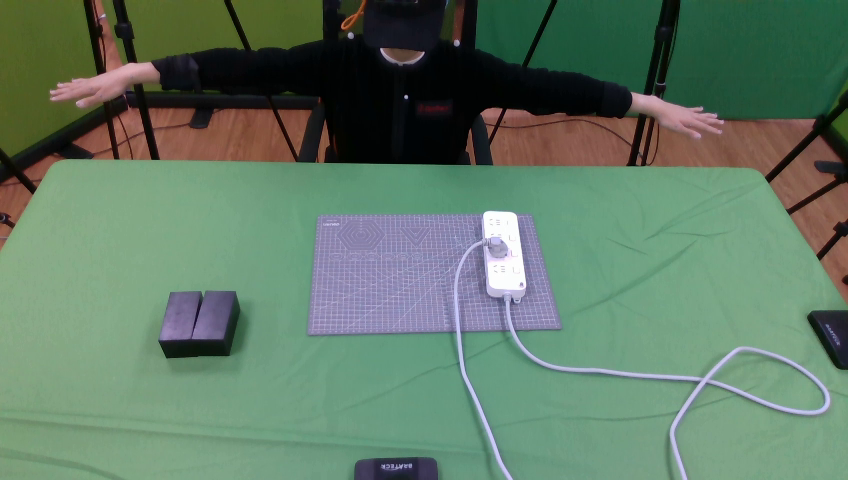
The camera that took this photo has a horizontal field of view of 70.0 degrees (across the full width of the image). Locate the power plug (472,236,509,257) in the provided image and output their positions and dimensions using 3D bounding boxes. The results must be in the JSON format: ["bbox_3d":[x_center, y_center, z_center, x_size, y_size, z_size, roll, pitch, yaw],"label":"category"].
[{"bbox_3d":[0.126,0.013,1.149,0.072,0.053,0.035,11,46,5],"label":"power plug"}]

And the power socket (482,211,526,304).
[{"bbox_3d":[0.153,0.025,1.174,0.072,0.033,0.225,1,46,0],"label":"power socket"}]
